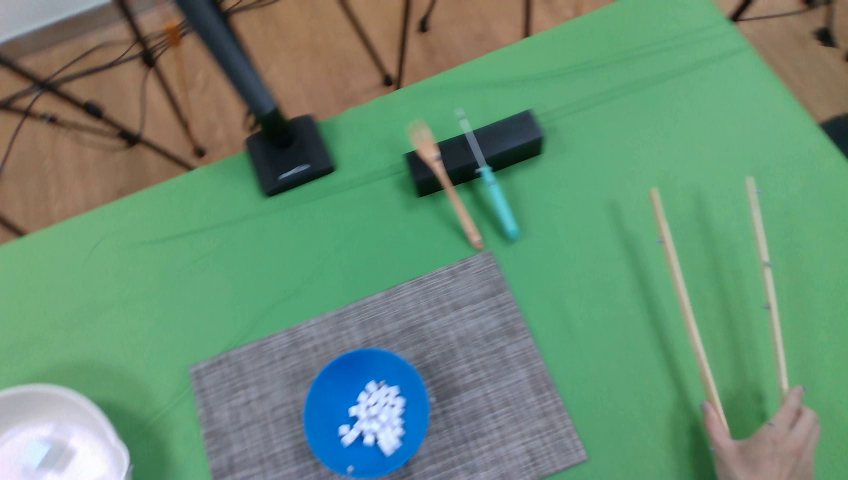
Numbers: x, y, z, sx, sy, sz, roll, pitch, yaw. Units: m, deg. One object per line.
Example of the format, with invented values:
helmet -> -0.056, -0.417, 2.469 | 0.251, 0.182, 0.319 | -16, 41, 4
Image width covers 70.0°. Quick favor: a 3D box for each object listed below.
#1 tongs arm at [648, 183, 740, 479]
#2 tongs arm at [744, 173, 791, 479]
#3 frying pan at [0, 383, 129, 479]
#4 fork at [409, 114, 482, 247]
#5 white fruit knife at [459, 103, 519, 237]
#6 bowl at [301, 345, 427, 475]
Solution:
tongs arm -> 0.331, 0.109, 0.735 | 0.028, 0.028, 0.385 | -10, 73, 0
tongs arm -> 0.397, 0.103, 0.727 | 0.051, 0.027, 0.382 | -3, 74, 6
frying pan -> -0.463, 0.407, 0.692 | 0.307, 0.104, 0.482 | -22, 58, -3
fork -> 0.032, -0.083, 0.858 | 0.028, 0.018, 0.207 | -27, 87, -10
white fruit knife -> 0.089, -0.101, 0.859 | 0.016, 0.027, 0.206 | -23, 83, 3
bowl -> -0.067, 0.211, 0.745 | 0.151, 0.077, 0.150 | -2, 67, 5
